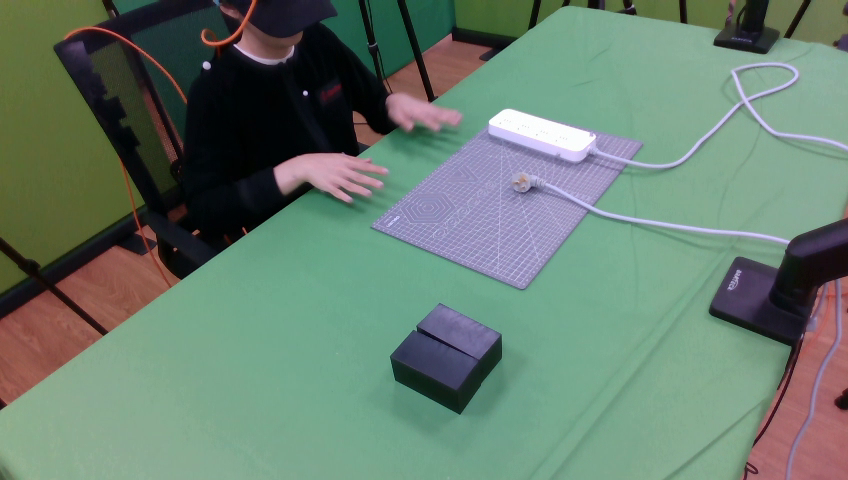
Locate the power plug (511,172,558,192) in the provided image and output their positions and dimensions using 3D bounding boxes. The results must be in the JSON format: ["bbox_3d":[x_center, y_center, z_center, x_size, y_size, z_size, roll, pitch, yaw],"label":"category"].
[{"bbox_3d":[0.188,-0.101,1.044,0.072,0.035,0.053,2,21,41],"label":"power plug"}]

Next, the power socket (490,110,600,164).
[{"bbox_3d":[0.227,-0.201,1.166,0.225,0.033,0.072,26,52,33],"label":"power socket"}]
